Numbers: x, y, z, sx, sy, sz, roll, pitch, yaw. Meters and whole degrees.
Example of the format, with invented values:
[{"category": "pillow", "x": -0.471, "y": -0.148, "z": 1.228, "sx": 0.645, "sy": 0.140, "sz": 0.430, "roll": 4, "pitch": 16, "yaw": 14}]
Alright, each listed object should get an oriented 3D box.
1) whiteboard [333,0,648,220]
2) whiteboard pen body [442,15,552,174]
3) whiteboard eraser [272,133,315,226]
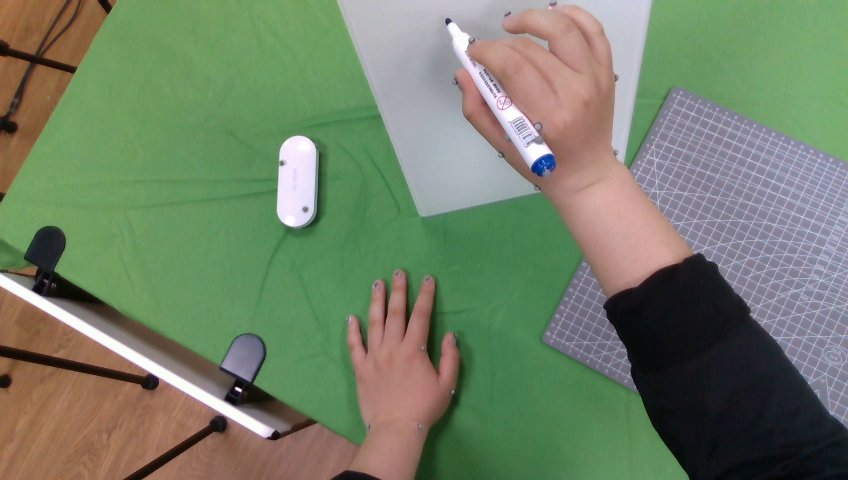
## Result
[{"category": "whiteboard", "x": 0.061, "y": -0.176, "z": 0.538, "sx": 0.217, "sy": 0.308, "sz": 0.142, "roll": -12, "pitch": 60, "yaw": 6}, {"category": "whiteboard pen body", "x": 0.041, "y": -0.098, "z": 0.384, "sx": 0.017, "sy": 0.017, "sz": 0.139, "roll": -28, "pitch": 64, "yaw": 2}, {"category": "whiteboard eraser", "x": -0.142, "y": -0.066, "z": 0.657, "sx": 0.041, "sy": 0.019, "sz": 0.101, "roll": 1, "pitch": 83, "yaw": 5}]
